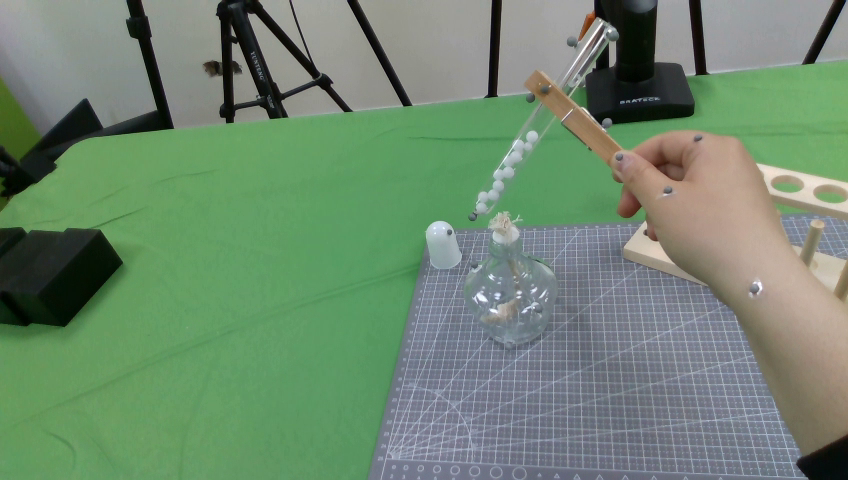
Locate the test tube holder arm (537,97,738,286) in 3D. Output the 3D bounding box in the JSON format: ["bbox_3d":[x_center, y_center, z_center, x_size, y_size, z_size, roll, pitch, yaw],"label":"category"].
[{"bbox_3d":[0.130,-0.042,0.386,0.015,0.013,0.177,-45,73,20],"label":"test tube holder arm"}]

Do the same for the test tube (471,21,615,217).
[{"bbox_3d":[0.076,-0.077,0.408,0.017,0.150,0.017,28,23,-13],"label":"test tube"}]

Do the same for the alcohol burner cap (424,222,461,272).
[{"bbox_3d":[0.017,0.004,0.584,0.034,0.048,0.033,-7,41,7],"label":"alcohol burner cap"}]

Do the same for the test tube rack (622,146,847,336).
[{"bbox_3d":[0.283,0.004,0.471,0.240,0.086,0.066,22,52,36],"label":"test tube rack"}]

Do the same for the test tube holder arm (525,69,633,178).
[{"bbox_3d":[0.099,-0.075,0.391,0.087,0.015,0.010,48,20,8],"label":"test tube holder arm"}]

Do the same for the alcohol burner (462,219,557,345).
[{"bbox_3d":[0.067,0.029,0.483,0.078,0.120,0.077,-7,42,7],"label":"alcohol burner"}]
